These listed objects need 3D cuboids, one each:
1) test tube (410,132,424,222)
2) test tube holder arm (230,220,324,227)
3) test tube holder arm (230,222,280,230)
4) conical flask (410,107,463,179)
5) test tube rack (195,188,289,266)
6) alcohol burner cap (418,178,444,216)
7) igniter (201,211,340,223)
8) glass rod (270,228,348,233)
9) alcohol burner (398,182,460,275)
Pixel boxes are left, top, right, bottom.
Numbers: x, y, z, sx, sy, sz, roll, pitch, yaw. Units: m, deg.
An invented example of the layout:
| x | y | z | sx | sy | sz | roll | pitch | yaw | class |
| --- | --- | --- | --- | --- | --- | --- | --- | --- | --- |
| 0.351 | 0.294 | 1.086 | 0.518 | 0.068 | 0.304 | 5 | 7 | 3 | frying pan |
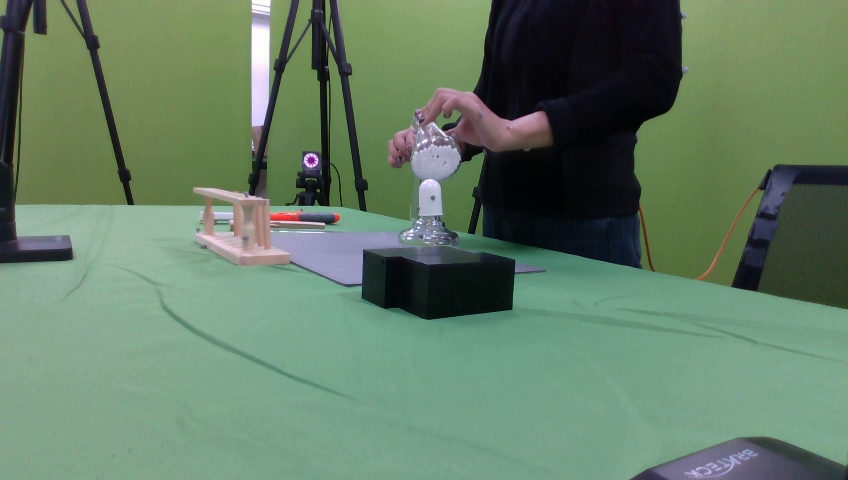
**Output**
| x | y | z | sx | sy | sz | roll | pitch | yaw | class |
| --- | --- | --- | --- | --- | --- | --- | --- | --- | --- |
| -0.012 | -0.101 | 0.988 | 0.017 | 0.150 | 0.017 | 3 | 22 | -1 | test tube |
| -0.275 | -0.030 | 1.145 | 0.179 | 0.015 | 0.013 | -2 | 44 | -31 | test tube holder arm |
| -0.312 | -0.025 | 1.118 | 0.088 | 0.015 | 0.010 | -1 | 44 | -30 | test tube holder arm |
| 0.009 | -0.149 | 0.887 | 0.075 | 0.075 | 0.121 | 0 | 41 | -13 | conical flask |
| -0.266 | -0.025 | 0.864 | 0.067 | 0.085 | 0.241 | -2 | 9 | -33 | test tube rack |
| 0.007 | -0.053 | 0.745 | 0.034 | 0.048 | 0.034 | -3 | 6 | 1 | alcohol burner cap |
| -0.311 | -0.048 | 1.243 | 0.278 | 0.025 | 0.057 | -1 | -2 | -24 | igniter |
| -0.234 | -0.017 | 1.105 | 0.201 | 0.008 | 0.008 | 1 | 7 | -26 | glass rod |
| 0.007 | -0.017 | 0.751 | 0.078 | 0.119 | 0.078 | 3 | 9 | 0 | alcohol burner |
